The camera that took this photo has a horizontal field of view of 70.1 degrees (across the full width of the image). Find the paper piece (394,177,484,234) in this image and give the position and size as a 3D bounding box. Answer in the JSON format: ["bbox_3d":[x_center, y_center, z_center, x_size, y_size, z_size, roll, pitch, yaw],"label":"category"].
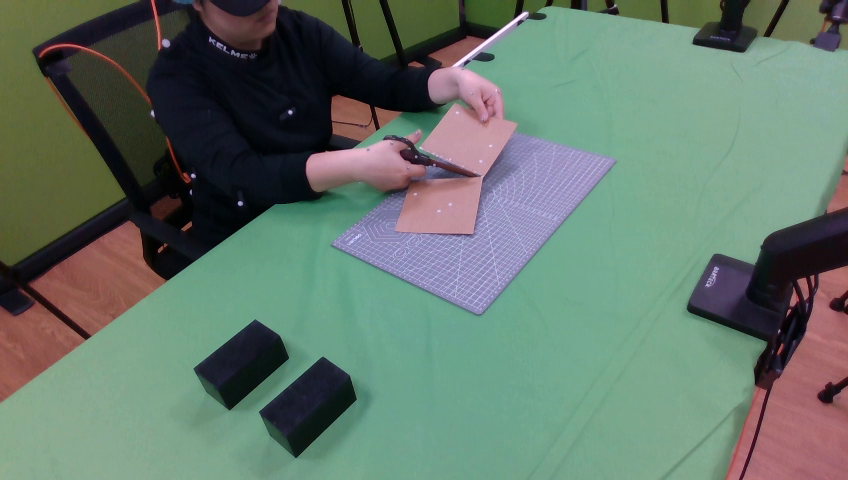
[{"bbox_3d":[0.028,-0.059,1.030,0.135,0.004,0.135,0,48,16],"label":"paper piece"}]

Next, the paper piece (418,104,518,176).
[{"bbox_3d":[0.082,-0.186,1.104,0.135,0.009,0.138,27,61,15],"label":"paper piece"}]

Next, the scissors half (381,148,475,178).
[{"bbox_3d":[0.006,-0.132,1.075,0.174,0.040,0.013,15,59,14],"label":"scissors half"}]

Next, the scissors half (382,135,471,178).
[{"bbox_3d":[0.007,-0.142,1.057,0.175,0.040,0.013,24,65,-5],"label":"scissors half"}]
